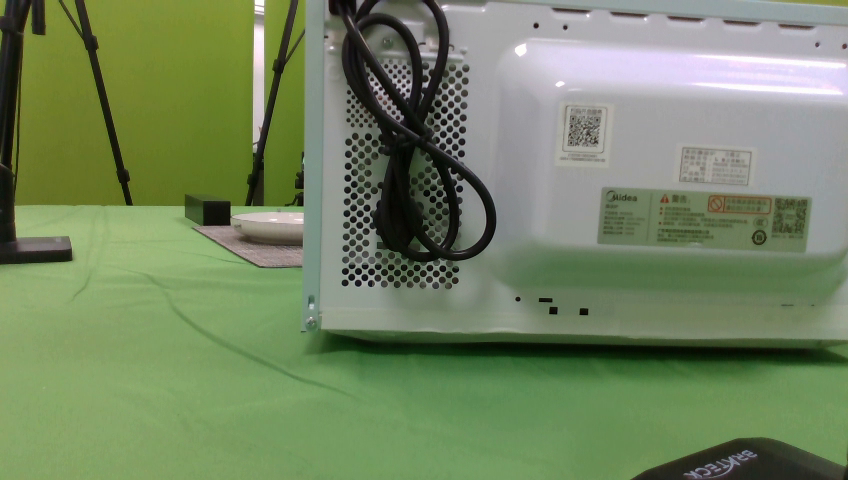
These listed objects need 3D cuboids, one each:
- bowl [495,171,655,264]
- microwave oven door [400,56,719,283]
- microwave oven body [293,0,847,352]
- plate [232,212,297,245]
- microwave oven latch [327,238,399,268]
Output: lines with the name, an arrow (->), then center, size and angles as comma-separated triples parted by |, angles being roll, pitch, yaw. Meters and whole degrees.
bowl -> 0.144, -0.023, 0.592 | 0.151, 0.077, 0.151 | 1, 11, 0
microwave oven door -> 0.155, -0.077, 0.698 | 0.356, 0.243, 0.039 | 2, 8, -5
microwave oven body -> 0.122, -0.055, 0.550 | 0.442, 0.260, 0.325 | 3, 7, -5
plate -> -0.214, -0.019, 1.018 | 0.208, 0.039, 0.207 | 3, 7, 0
microwave oven latch -> -0.069, 0.015, 0.694 | 0.079, 0.029, 0.030 | 3, 7, -3
